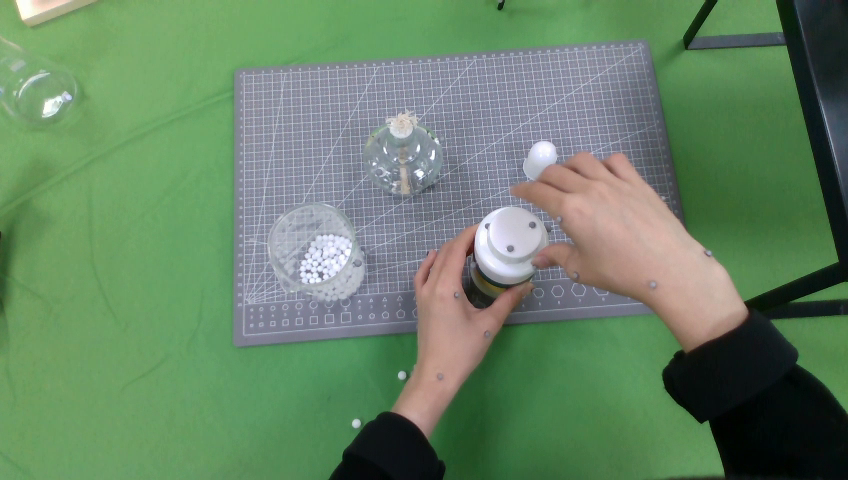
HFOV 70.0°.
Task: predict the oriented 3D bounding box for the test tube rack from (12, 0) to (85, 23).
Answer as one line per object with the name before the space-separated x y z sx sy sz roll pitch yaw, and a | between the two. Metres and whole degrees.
test tube rack | -0.350 -0.332 0.656 0.242 0.085 0.066 -25 75 -6

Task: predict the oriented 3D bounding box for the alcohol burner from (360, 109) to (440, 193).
alcohol burner | -0.023 -0.089 0.570 0.078 0.119 0.077 0 73 -1

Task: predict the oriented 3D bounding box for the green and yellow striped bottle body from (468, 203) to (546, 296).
green and yellow striped bottle body | 0.072 0.008 0.540 0.063 0.120 0.063 0 74 1

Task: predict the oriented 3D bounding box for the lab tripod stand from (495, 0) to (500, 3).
lab tripod stand | 0.138 -0.325 0.626 0.148 0.132 0.147 0 73 -1

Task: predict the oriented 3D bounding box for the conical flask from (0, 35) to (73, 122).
conical flask | -0.413 -0.175 0.594 0.075 0.122 0.075 0 74 1

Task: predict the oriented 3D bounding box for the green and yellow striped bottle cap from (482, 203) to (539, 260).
green and yellow striped bottle cap | 0.070 -0.007 0.490 0.045 0.020 0.045 0 75 -1

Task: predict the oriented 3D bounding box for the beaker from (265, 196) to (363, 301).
beaker | -0.096 0.015 0.550 0.074 0.101 0.083 25 77 8

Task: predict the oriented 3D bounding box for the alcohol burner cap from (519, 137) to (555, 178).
alcohol burner cap | 0.115 -0.085 0.606 0.034 0.048 0.033 0 74 0
